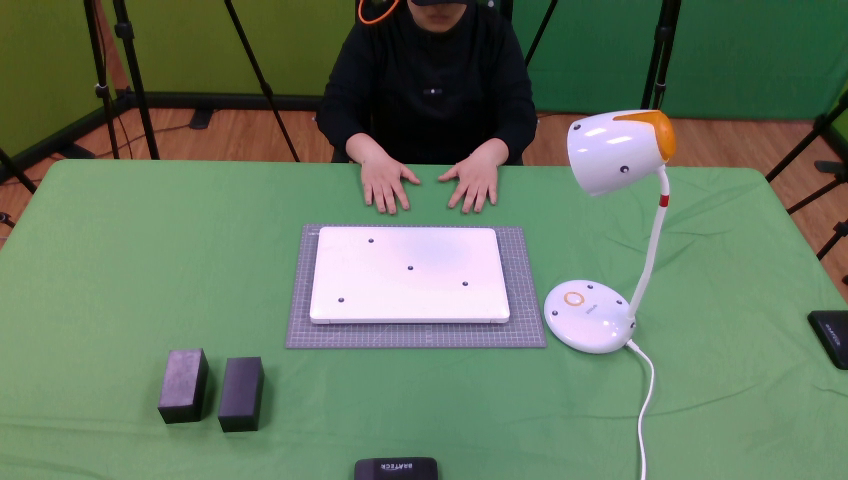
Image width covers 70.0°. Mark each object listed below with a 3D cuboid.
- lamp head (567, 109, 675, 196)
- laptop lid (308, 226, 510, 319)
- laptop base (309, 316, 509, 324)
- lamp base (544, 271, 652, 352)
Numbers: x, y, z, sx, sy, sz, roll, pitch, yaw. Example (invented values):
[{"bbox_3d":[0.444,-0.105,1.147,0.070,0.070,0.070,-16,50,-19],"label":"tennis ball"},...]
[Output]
[{"bbox_3d":[0.272,-0.123,0.818,0.122,0.113,0.112,-9,35,37],"label":"lamp head"},{"bbox_3d":[-0.028,0.055,1.129,0.357,0.013,0.240,2,44,-3],"label":"laptop lid"},{"bbox_3d":[-0.028,0.064,1.136,0.355,0.023,0.234,0,43,-4],"label":"laptop base"},{"bbox_3d":[0.310,0.086,1.029,0.178,0.181,0.160,32,52,21],"label":"lamp base"}]
